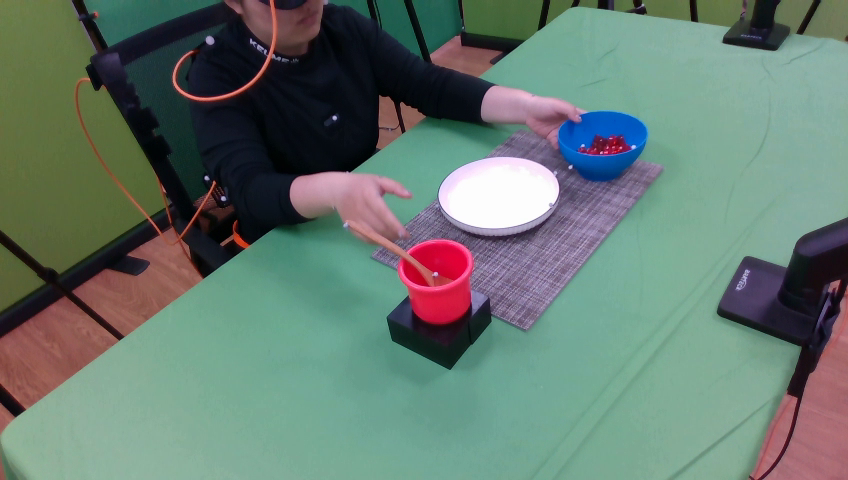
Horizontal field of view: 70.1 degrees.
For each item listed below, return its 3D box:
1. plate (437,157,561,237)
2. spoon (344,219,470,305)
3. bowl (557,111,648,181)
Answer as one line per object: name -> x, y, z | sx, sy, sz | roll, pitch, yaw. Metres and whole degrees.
plate -> 0.127, -0.070, 1.023 | 0.207, 0.039, 0.206 | -5, 40, 5
spoon -> -0.020, 0.026, 0.781 | 0.194, 0.021, 0.041 | 37, 43, -14
bowl -> 0.310, -0.156, 1.058 | 0.151, 0.077, 0.150 | -5, 40, 5
